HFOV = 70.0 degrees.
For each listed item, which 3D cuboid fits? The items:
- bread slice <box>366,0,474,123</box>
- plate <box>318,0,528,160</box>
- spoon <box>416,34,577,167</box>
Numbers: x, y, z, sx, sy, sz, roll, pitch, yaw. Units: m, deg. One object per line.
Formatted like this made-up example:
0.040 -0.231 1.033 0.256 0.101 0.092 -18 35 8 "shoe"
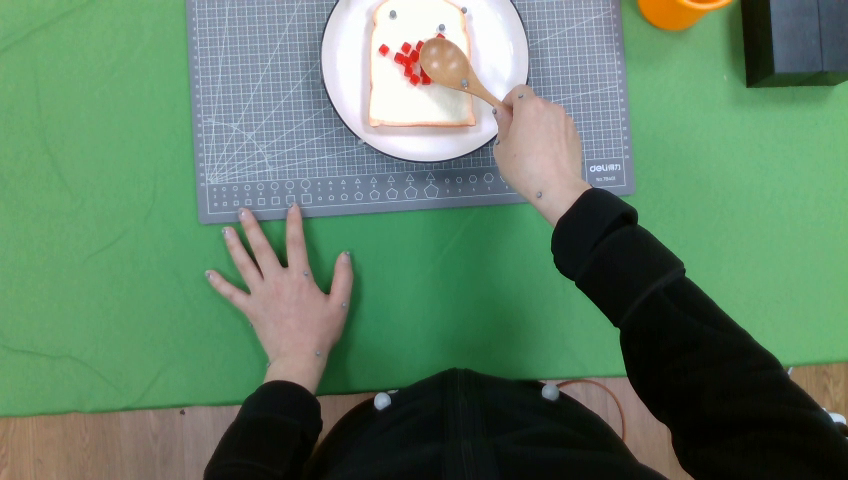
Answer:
-0.008 -0.183 0.613 0.107 0.018 0.134 -4 88 -4 "bread slice"
0.000 -0.182 0.612 0.209 0.038 0.209 0 88 -3 "plate"
0.067 -0.130 0.572 0.192 0.022 0.041 43 86 16 "spoon"
